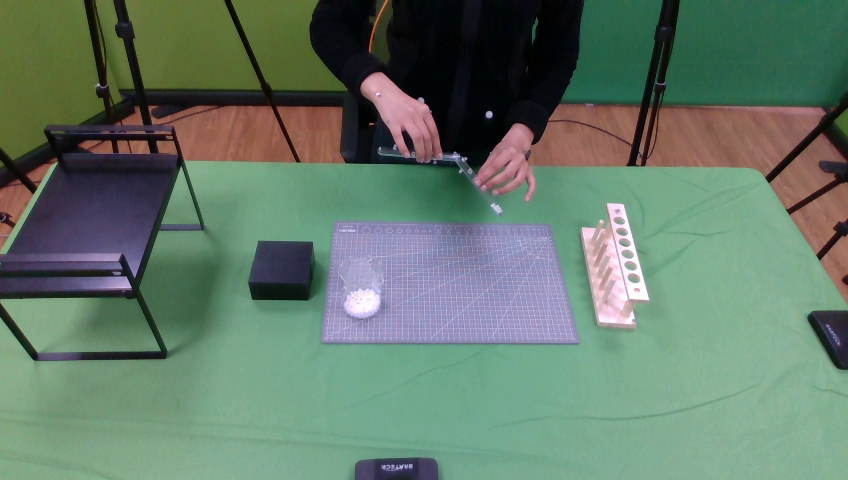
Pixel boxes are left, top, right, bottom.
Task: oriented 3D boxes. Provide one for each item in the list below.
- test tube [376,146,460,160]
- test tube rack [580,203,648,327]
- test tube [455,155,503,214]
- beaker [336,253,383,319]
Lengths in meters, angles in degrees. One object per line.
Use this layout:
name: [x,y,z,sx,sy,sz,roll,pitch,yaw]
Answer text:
test tube: [-0.009,-0.152,1.063,0.151,0.017,0.017,2,46,-14]
test tube rack: [0.352,0.041,1.143,0.067,0.085,0.241,4,46,0]
test tube: [0.104,-0.100,1.121,0.017,0.151,0.017,-28,35,22]
beaker: [-0.108,0.084,1.052,0.084,0.101,0.074,25,50,17]
